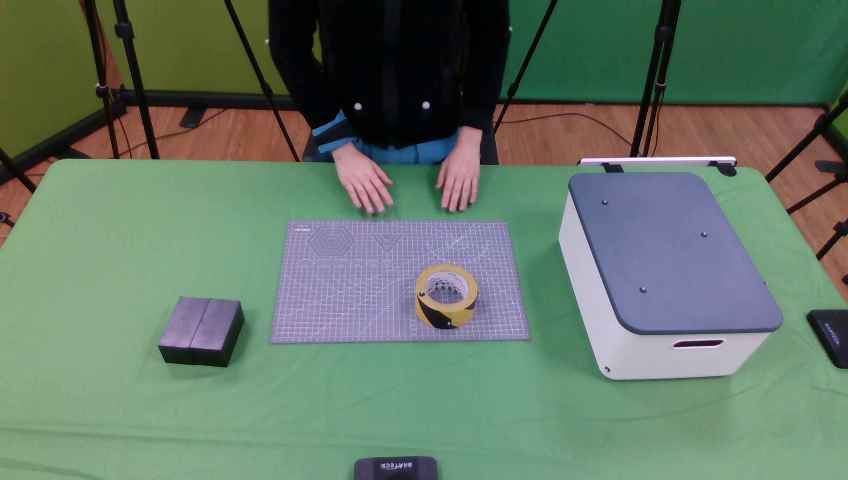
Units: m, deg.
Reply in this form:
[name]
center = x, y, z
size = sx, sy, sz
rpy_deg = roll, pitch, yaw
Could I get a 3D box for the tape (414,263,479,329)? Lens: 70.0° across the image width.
[tape]
center = 0.038, 0.099, 1.080
size = 0.117, 0.053, 0.116
rpy_deg = 3, 46, -2

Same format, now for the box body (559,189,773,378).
[box body]
center = 0.405, 0.057, 1.074
size = 0.254, 0.161, 0.361
rpy_deg = -2, 46, -5

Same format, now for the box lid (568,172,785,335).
[box lid]
center = 0.407, 0.007, 1.019
size = 0.263, 0.015, 0.369
rpy_deg = -1, 46, -5
